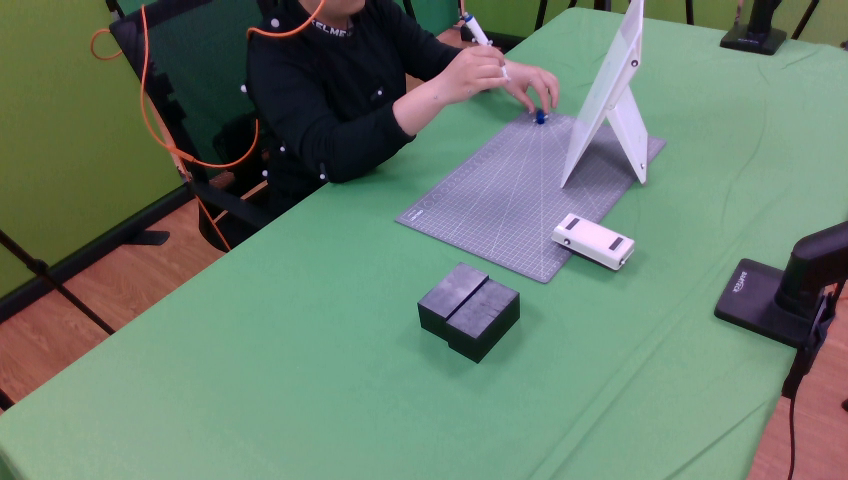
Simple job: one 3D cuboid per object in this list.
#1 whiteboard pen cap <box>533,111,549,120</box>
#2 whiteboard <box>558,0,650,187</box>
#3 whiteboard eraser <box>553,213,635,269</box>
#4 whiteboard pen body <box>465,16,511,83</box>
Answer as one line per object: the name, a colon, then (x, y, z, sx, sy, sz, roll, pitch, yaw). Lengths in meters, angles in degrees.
whiteboard pen cap: (0.239, -0.255, 1.238, 0.018, 0.018, 0.033, -28, 28, -22)
whiteboard: (0.362, -0.238, 1.026, 0.144, 0.306, 0.217, 21, 45, 4)
whiteboard eraser: (0.258, 0.003, 0.918, 0.112, 0.042, 0.056, 27, 50, 30)
whiteboard pen body: (0.111, -0.321, 1.030, 0.017, 0.142, 0.017, -28, 35, 22)
